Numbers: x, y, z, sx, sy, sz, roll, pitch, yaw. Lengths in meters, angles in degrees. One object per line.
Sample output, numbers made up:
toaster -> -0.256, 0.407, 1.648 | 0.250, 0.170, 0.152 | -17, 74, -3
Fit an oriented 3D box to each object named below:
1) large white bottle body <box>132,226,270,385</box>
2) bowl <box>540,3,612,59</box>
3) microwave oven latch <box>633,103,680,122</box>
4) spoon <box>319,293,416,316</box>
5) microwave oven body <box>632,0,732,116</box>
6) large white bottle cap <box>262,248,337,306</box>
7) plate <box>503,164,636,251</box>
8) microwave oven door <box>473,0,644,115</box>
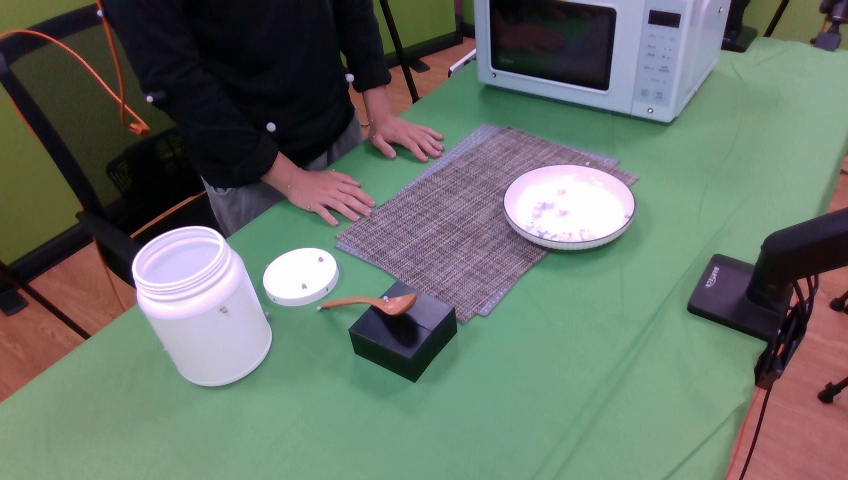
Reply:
large white bottle body -> -0.286, 0.085, 0.784 | 0.130, 0.185, 0.130 | -4, 41, 4
bowl -> 0.323, -0.441, 1.298 | 0.151, 0.077, 0.150 | -4, 41, 4
microwave oven latch -> 0.444, -0.249, 1.157 | 0.078, 0.029, 0.030 | 21, 48, 30
spoon -> -0.082, 0.086, 0.826 | 0.192, 0.022, 0.041 | -3, 36, 41
microwave oven body -> 0.377, -0.462, 1.267 | 0.438, 0.261, 0.327 | 21, 48, 30
large white bottle cap -> -0.192, 0.056, 0.934 | 0.115, 0.018, 0.114 | -4, 41, 4
plate -> 0.232, -0.051, 0.976 | 0.209, 0.038, 0.208 | -3, 41, 3
microwave oven door -> 0.257, -0.396, 1.199 | 0.353, 0.245, 0.039 | 21, 48, 29
